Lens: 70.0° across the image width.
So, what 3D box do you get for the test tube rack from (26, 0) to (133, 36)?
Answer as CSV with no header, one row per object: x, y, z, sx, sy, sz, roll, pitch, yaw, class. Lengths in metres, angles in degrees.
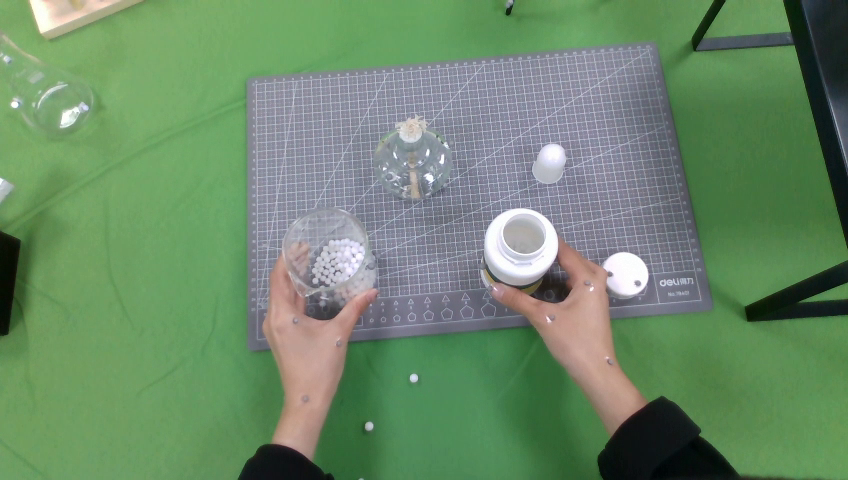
-0.342,-0.324,0.672,0.242,0.085,0.066,-25,74,-6,test tube rack

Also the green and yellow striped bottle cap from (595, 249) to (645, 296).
0.191,0.031,0.589,0.045,0.020,0.045,0,76,1,green and yellow striped bottle cap

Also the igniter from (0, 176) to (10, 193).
-0.477,0.053,0.549,0.057,0.025,0.275,24,75,18,igniter

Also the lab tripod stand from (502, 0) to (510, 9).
0.146,-0.322,0.632,0.148,0.132,0.147,0,72,0,lab tripod stand

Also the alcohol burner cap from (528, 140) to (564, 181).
0.124,-0.082,0.609,0.034,0.048,0.033,0,73,1,alcohol burner cap

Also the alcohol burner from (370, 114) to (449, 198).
-0.014,-0.085,0.577,0.078,0.120,0.077,0,72,0,alcohol burner

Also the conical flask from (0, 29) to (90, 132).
-0.404,-0.167,0.609,0.075,0.122,0.075,-1,73,2,conical flask

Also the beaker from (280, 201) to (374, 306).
-0.085,0.020,0.555,0.074,0.101,0.083,24,75,8,beaker

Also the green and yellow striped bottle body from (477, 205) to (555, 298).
0.081,0.010,0.542,0.063,0.120,0.063,0,73,2,green and yellow striped bottle body
